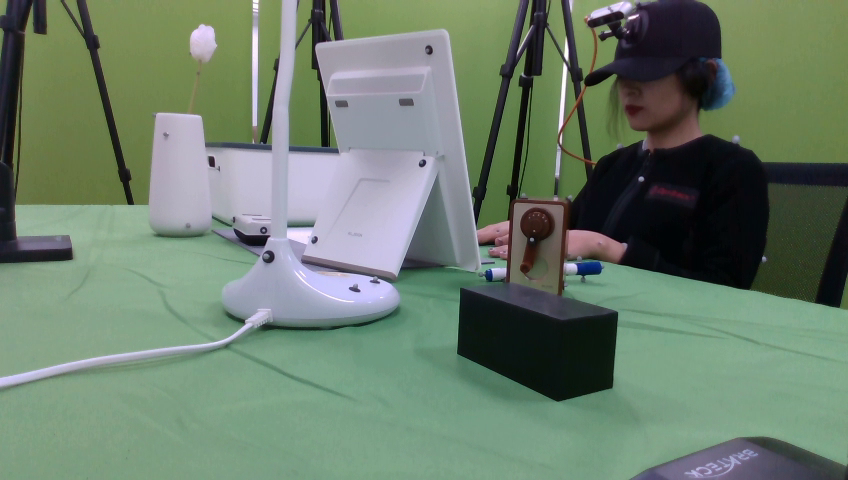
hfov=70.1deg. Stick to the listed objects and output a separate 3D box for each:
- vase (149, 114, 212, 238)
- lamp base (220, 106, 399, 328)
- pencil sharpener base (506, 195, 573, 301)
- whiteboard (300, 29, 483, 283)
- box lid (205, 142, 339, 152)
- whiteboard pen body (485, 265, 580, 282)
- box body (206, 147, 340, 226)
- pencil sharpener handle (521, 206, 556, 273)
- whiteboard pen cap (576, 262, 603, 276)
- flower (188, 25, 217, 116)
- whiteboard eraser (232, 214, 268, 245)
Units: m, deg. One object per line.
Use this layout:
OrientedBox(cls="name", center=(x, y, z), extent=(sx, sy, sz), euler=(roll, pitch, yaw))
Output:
OrientedBox(cls="vase", center=(-0.405, -0.106, 1.005), extent=(0.098, 0.200, 0.098), euler=(2, 6, 0))
OrientedBox(cls="lamp base", center=(-0.102, -0.023, 0.531), extent=(0.160, 0.180, 0.179), euler=(4, 10, 10))
OrientedBox(cls="pencil sharpener base", center=(0.127, 0.007, 0.663), extent=(0.061, 0.107, 0.077), euler=(5, 8, 15))
OrientedBox(cls="whiteboard", center=(-0.074, -0.082, 0.742), extent=(0.216, 0.305, 0.144), euler=(9, 30, 38))
OrientedBox(cls="box lid", center=(-0.270, -0.196, 1.310), extent=(0.373, 0.015, 0.262), euler=(-2, 9, -30))
OrientedBox(cls="whiteboard pen body", center=(0.144, 0.040, 0.738), extent=(0.141, 0.017, 0.017), euler=(-2, 8, -10))
OrientedBox(cls="box body", center=(-0.276, -0.122, 1.320), extent=(0.366, 0.160, 0.253), euler=(-2, 9, -30))
OrientedBox(cls="pencil sharpener handle", center=(0.111, 0.000, 0.613), extent=(0.036, 0.067, 0.031), euler=(12, 10, 14))
OrientedBox(cls="whiteboard pen cap", center=(0.203, 0.036, 0.749), extent=(0.033, 0.018, 0.018), euler=(-2, 8, -7))
OrientedBox(cls="flower", center=(-0.394, -0.189, 1.012), extent=(0.044, 0.361, 0.038), euler=(-1, -13, 28))
OrientedBox(cls="whiteboard eraser", center=(-0.265, -0.018, 0.954), extent=(0.056, 0.042, 0.112), euler=(-4, 10, -28))
